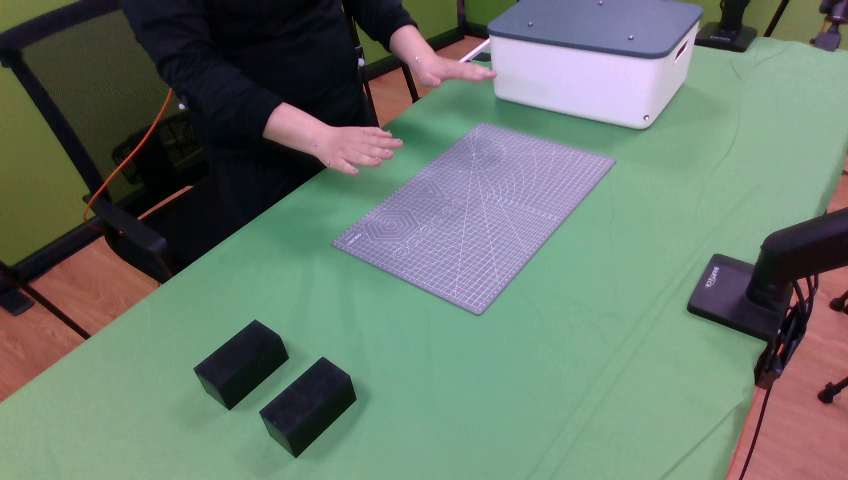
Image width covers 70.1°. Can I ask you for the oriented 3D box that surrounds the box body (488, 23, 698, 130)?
[{"bbox_3d":[0.345,-0.379,1.257,0.361,0.161,0.255,20,48,29],"label":"box body"}]

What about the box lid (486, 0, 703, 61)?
[{"bbox_3d":[0.338,-0.435,1.208,0.369,0.015,0.264,20,47,29],"label":"box lid"}]
